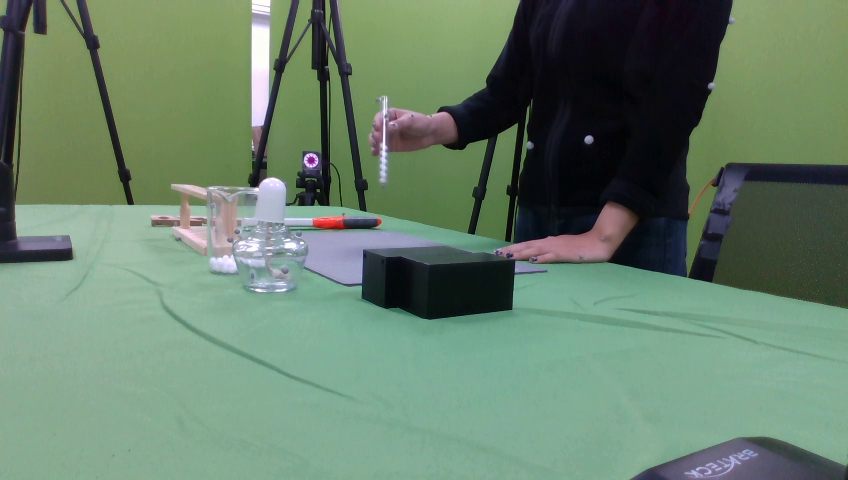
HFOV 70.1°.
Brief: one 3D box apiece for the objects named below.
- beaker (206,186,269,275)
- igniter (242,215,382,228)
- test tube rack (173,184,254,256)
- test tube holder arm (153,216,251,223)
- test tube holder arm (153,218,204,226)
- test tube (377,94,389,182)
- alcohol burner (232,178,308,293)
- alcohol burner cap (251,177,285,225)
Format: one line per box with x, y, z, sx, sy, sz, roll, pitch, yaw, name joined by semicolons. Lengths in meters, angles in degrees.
-0.220;-0.012;0.717;0.074;0.100;0.084;2;8;-3;beaker
-0.212;-0.036;1.186;0.278;0.025;0.057;-2;-1;-31;igniter
-0.328;-0.036;0.927;0.067;0.085;0.241;-2;9;-32;test tube rack
-0.422;-0.039;1.159;0.179;0.015;0.013;-2;43;-31;test tube holder arm
-0.459;-0.034;1.132;0.088;0.015;0.010;-1;43;-30;test tube holder arm
-0.065;-0.163;0.965;0.017;0.150;0.017;0;-16;0;test tube
-0.161;-0.006;0.632;0.078;0.119;0.078;1;9;0;alcohol burner
-0.160;-0.041;0.628;0.034;0.048;0.034;9;7;-1;alcohol burner cap
